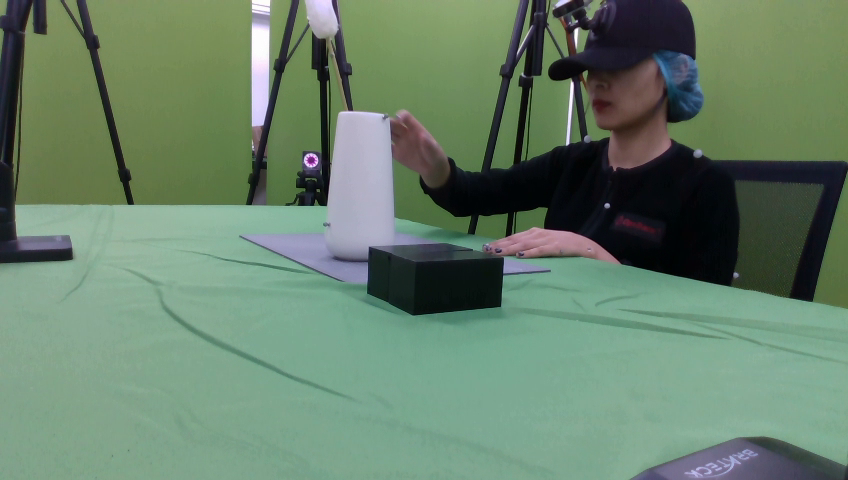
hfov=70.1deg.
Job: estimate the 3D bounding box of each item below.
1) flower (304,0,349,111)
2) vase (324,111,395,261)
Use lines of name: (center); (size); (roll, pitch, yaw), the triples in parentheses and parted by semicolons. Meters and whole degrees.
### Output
flower: (-0.099, -0.157, 0.825); (0.038, 0.361, 0.044); (-15, 5, -1)
vase: (-0.087, -0.074, 0.829); (0.098, 0.200, 0.098); (2, 9, 0)
